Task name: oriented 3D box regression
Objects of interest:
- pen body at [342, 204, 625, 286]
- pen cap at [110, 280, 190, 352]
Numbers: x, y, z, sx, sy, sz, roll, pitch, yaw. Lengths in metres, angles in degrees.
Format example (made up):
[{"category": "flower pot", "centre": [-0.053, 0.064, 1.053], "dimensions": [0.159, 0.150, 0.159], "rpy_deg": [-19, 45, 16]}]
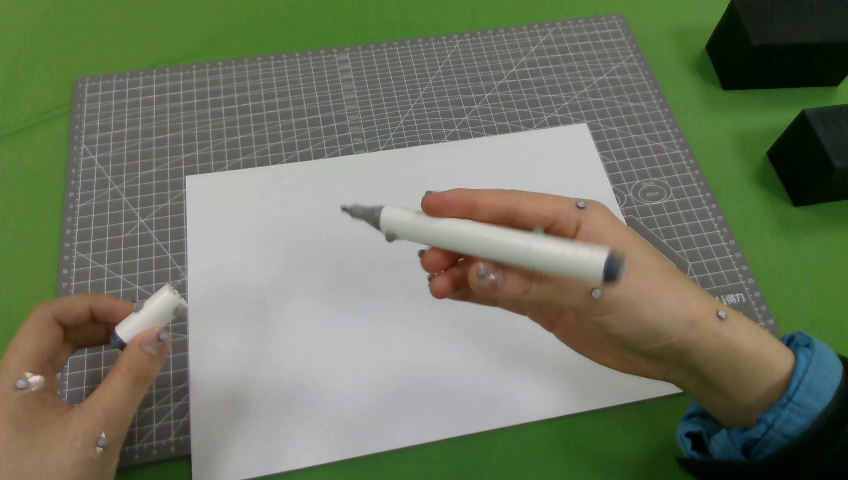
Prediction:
[{"category": "pen body", "centre": [0.018, -0.002, 0.277], "dimensions": [0.143, 0.017, 0.017], "rpy_deg": [12, 59, 30]}, {"category": "pen cap", "centre": [-0.136, 0.039, 0.301], "dimensions": [0.038, 0.017, 0.017], "rpy_deg": [-41, 70, -8]}]
